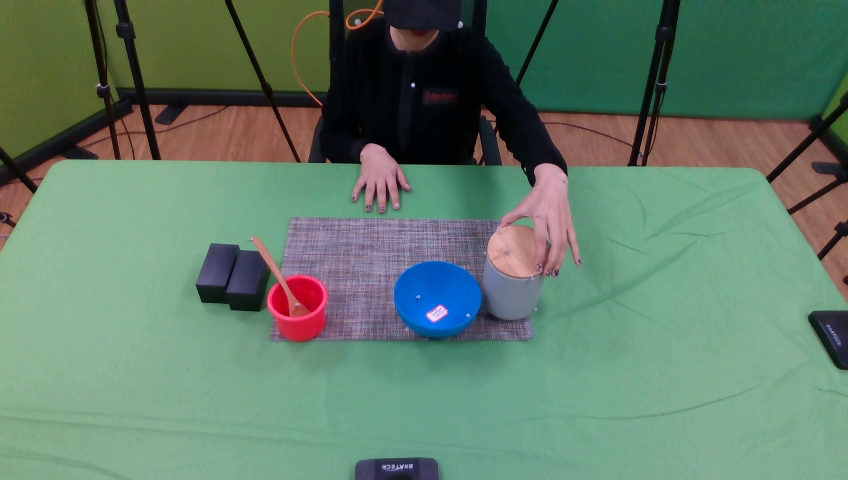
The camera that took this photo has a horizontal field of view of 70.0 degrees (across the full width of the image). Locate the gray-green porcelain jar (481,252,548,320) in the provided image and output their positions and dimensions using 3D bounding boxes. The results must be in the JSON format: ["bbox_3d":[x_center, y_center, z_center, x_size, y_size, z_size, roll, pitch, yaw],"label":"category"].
[{"bbox_3d":[0.156,0.070,1.065,0.106,0.127,0.105,2,46,-2],"label":"gray-green porcelain jar"}]

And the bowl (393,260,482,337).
[{"bbox_3d":[0.021,0.115,1.045,0.151,0.077,0.150,2,46,-2],"label":"bowl"}]

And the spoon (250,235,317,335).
[{"bbox_3d":[-0.237,0.075,1.019,0.041,0.021,0.194,-32,100,-32],"label":"spoon"}]

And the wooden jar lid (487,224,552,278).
[{"bbox_3d":[0.160,0.021,1.017,0.108,0.021,0.107,1,55,-1],"label":"wooden jar lid"}]
